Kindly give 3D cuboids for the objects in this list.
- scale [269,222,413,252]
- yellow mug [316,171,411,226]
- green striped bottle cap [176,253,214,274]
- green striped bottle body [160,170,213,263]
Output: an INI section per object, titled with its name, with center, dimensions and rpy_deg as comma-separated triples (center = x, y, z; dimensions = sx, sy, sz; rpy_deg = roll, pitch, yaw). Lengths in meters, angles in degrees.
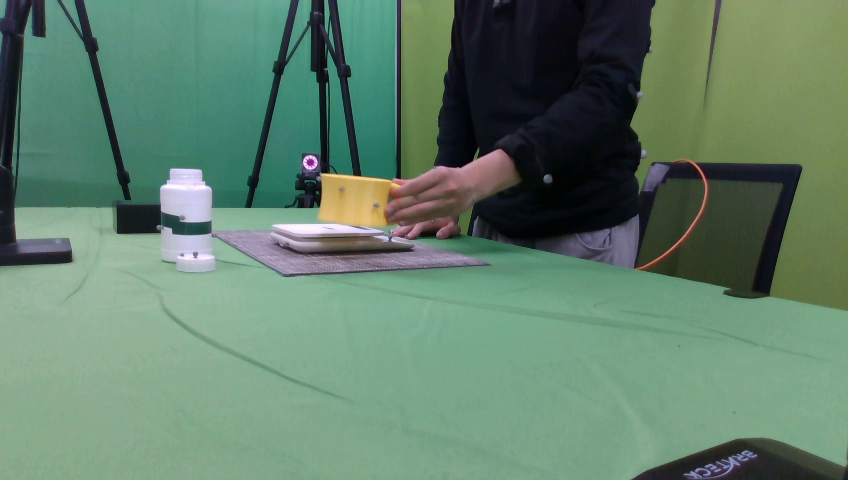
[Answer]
[scale]
center = -0.132, -0.007, 0.965
dimensions = 0.202, 0.031, 0.148
rpy_deg = -2, 8, -31
[yellow mug]
center = -0.083, -0.058, 0.847
dimensions = 0.131, 0.064, 0.100
rpy_deg = 5, 8, -6
[green striped bottle cap]
center = -0.280, 0.029, 0.741
dimensions = 0.044, 0.020, 0.044
rpy_deg = 7, 4, 0
[green striped bottle body]
center = -0.312, -0.033, 0.797
dimensions = 0.063, 0.119, 0.063
rpy_deg = 2, 7, 0
